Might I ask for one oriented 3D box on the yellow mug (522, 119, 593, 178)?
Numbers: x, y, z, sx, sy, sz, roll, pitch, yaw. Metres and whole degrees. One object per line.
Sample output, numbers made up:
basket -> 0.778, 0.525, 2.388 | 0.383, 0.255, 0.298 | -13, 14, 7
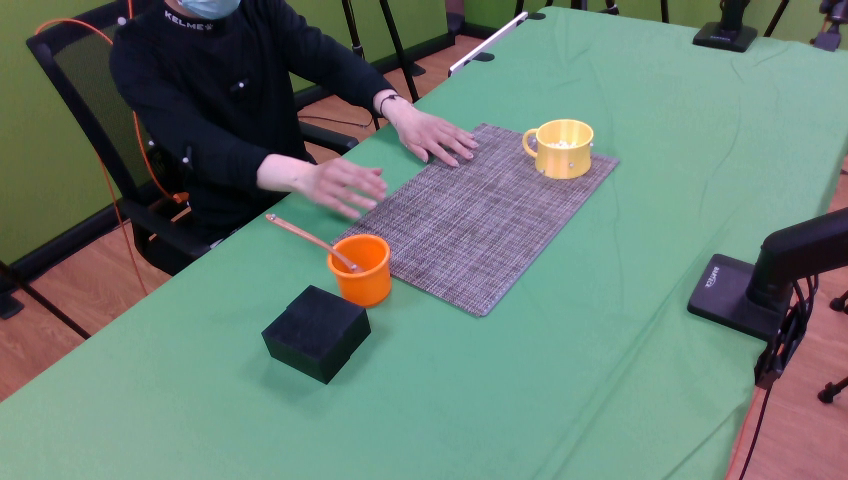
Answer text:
yellow mug -> 0.237, -0.170, 1.092 | 0.130, 0.064, 0.100 | 17, 47, 27

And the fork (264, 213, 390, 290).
fork -> -0.137, 0.018, 0.869 | 0.208, 0.018, 0.028 | 35, 38, -18
